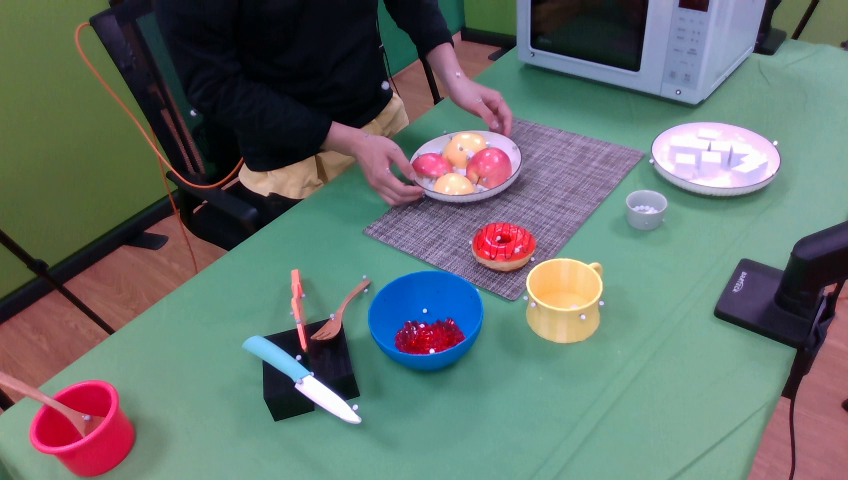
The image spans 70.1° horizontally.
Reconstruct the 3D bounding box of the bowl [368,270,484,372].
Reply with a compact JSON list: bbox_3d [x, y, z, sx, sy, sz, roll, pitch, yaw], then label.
[{"bbox_3d":[0.006,0.118,0.792,0.151,0.077,0.150,-5,40,4],"label":"bowl"}]

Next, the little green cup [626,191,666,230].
[{"bbox_3d":[0.352,-0.046,0.963,0.061,0.039,0.061,-4,40,4],"label":"little green cup"}]

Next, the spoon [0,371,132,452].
[{"bbox_3d":[-0.439,0.195,0.716,0.195,0.021,0.041,38,42,-16],"label":"spoon"}]

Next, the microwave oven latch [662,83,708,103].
[{"bbox_3d":[0.518,-0.296,1.204,0.078,0.029,0.030,28,52,35],"label":"microwave oven latch"}]

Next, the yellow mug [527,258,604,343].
[{"bbox_3d":[0.201,0.073,0.825,0.131,0.064,0.099,-32,46,-27],"label":"yellow mug"}]

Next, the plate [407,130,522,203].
[{"bbox_3d":[0.074,-0.130,1.095,0.209,0.038,0.208,-5,41,5],"label":"plate"}]

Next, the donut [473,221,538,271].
[{"bbox_3d":[0.123,0.008,0.923,0.099,0.048,0.098,-3,38,3],"label":"donut"}]

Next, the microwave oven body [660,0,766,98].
[{"bbox_3d":[0.472,-0.513,1.317,0.438,0.261,0.327,26,51,34],"label":"microwave oven body"}]

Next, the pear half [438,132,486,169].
[{"bbox_3d":[0.060,-0.171,1.123,0.110,0.056,0.076,-8,36,7],"label":"pear half"}]

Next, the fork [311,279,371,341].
[{"bbox_3d":[-0.108,0.092,0.832,0.028,0.019,0.207,-6,19,15],"label":"fork"}]

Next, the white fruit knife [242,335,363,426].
[{"bbox_3d":[-0.148,0.167,0.730,0.206,0.016,0.027,26,80,31],"label":"white fruit knife"}]

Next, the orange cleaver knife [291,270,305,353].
[{"bbox_3d":[-0.175,0.094,0.844,0.012,0.077,0.210,-11,14,-10],"label":"orange cleaver knife"}]

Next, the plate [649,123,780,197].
[{"bbox_3d":[0.497,-0.135,1.046,0.207,0.039,0.206,-4,40,4],"label":"plate"}]

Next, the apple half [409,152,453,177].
[{"bbox_3d":[0.017,-0.141,1.092,0.081,0.033,0.081,7,24,-3],"label":"apple half"}]

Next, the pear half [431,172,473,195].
[{"bbox_3d":[0.047,-0.101,1.047,0.071,0.031,0.087,-7,33,-30],"label":"pear half"}]

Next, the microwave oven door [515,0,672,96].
[{"bbox_3d":[0.343,-0.454,1.259,0.353,0.245,0.039,26,51,33],"label":"microwave oven door"}]

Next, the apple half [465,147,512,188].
[{"bbox_3d":[0.114,-0.135,1.065,0.080,0.053,0.075,26,51,38],"label":"apple half"}]
